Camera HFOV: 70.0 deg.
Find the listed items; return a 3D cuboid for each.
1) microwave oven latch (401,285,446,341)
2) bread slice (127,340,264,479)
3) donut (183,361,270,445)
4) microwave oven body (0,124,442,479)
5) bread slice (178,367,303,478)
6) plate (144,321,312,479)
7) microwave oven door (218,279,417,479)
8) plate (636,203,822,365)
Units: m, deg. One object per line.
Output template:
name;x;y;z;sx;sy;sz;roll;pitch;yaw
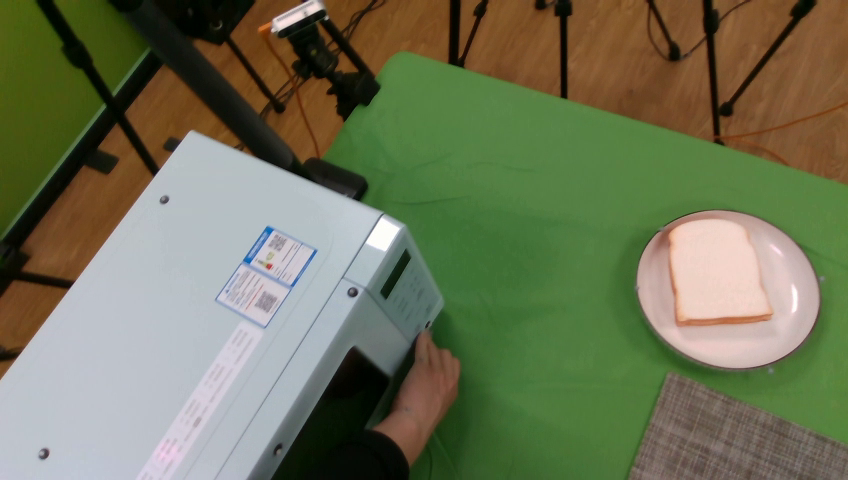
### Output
microwave oven latch;-0.003;0.091;0.788;0.030;0.030;0.079;34;77;23
bread slice;-0.250;0.180;0.686;0.106;0.018;0.134;35;69;14
donut;-0.229;0.190;0.710;0.099;0.048;0.098;0;62;0
microwave oven body;-0.233;0.144;0.706;0.324;0.262;0.440;24;74;21
bread slice;-0.232;0.228;0.750;0.131;0.019;0.104;-29;62;-30
plate;-0.232;0.202;0.732;0.209;0.038;0.207;-3;68;8
microwave oven door;-0.132;0.232;0.638;0.039;0.246;0.354;24;73;21
plate;0.368;0.054;0.746;0.207;0.039;0.206;-5;65;10
